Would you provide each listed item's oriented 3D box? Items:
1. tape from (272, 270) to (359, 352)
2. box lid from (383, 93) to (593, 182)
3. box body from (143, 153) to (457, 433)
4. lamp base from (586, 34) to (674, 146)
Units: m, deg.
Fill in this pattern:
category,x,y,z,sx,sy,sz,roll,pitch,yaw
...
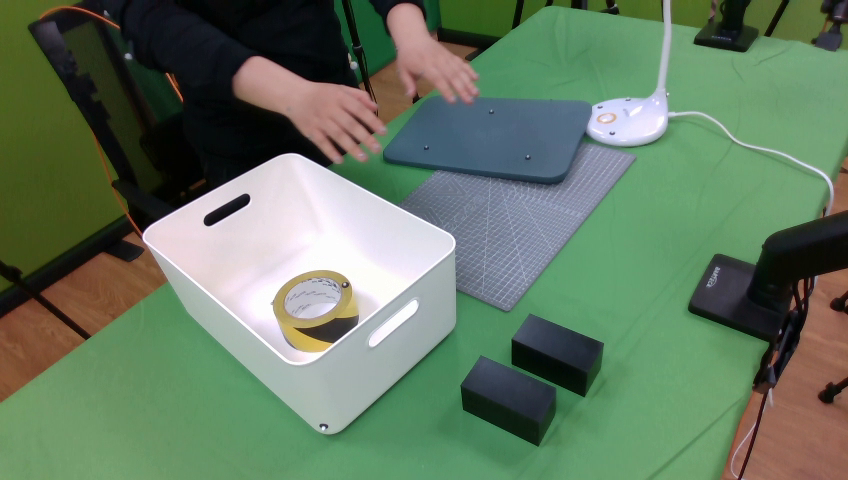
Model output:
category,x,y,z,sx,sy,sz,roll,pitch,yaw
tape,-0.149,0.097,0.843,0.117,0.053,0.116,-4,41,4
box lid,0.128,-0.211,1.192,0.369,0.015,0.263,9,45,22
box body,-0.158,0.054,0.819,0.361,0.161,0.255,29,52,34
lamp base,0.392,-0.291,1.129,0.180,0.181,0.159,-11,41,-8
